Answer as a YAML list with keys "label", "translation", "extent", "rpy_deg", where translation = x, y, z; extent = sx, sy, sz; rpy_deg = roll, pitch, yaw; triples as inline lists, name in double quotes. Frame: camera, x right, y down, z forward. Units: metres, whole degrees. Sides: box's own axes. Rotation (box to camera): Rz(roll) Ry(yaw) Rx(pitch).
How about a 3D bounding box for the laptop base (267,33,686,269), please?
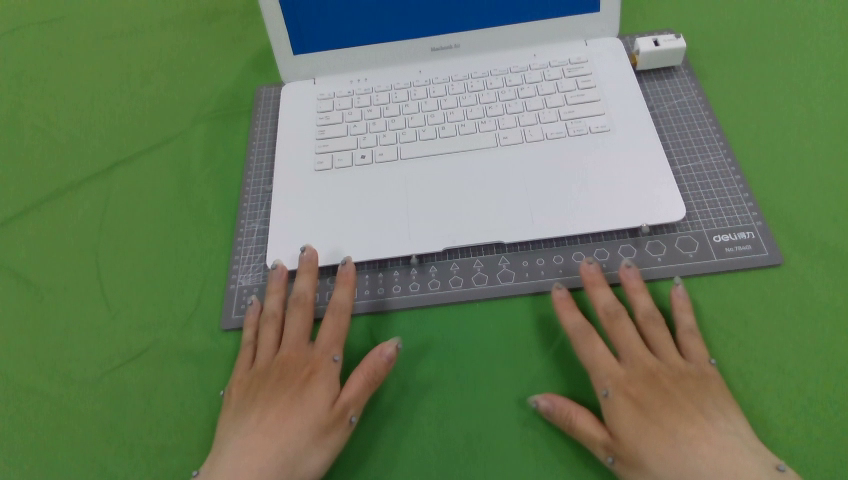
- label: "laptop base"
  translation: [0.034, -0.089, 0.568]
  extent: [0.354, 0.023, 0.233]
  rpy_deg: [-7, 58, 3]

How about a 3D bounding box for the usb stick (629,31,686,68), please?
- label: "usb stick"
  translation: [0.222, -0.186, 0.593]
  extent: [0.059, 0.027, 0.021]
  rpy_deg: [-7, 57, 6]

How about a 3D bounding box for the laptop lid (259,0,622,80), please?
- label: "laptop lid"
  translation: [0.010, -0.278, 0.561]
  extent: [0.356, 0.244, 0.013]
  rpy_deg: [-8, 38, 4]
